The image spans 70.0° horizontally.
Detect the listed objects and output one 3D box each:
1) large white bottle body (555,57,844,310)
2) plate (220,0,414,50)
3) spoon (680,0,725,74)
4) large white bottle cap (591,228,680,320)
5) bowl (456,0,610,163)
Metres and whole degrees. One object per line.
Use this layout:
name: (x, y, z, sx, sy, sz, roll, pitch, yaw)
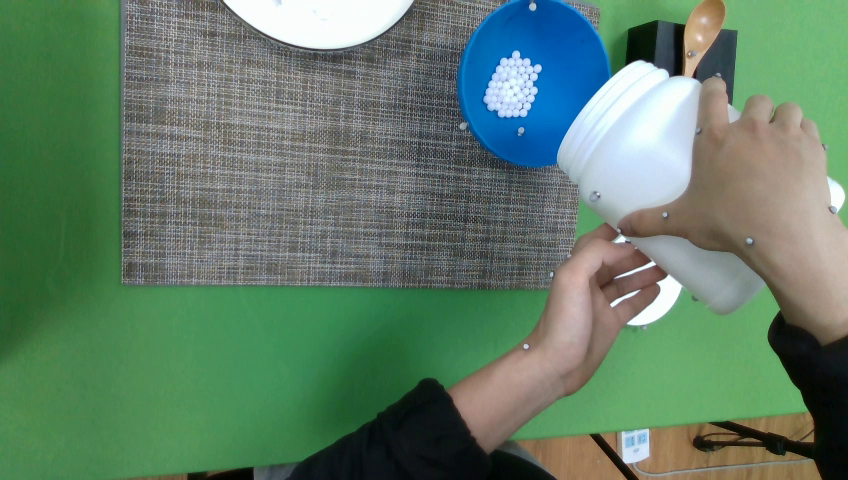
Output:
large white bottle body: (0.209, -0.049, 0.487, 0.130, 0.131, 0.183, -42, 71, -7)
plate: (-0.097, -0.268, 0.524, 0.210, 0.038, 0.209, -2, 96, -18)
spoon: (0.259, -0.153, 0.620, 0.042, 0.021, 0.194, 14, 99, -22)
large white bottle cap: (0.246, 0.036, 0.695, 0.115, 0.018, 0.115, -3, 100, -18)
bowl: (0.092, -0.150, 0.581, 0.152, 0.076, 0.151, -3, 99, -17)
